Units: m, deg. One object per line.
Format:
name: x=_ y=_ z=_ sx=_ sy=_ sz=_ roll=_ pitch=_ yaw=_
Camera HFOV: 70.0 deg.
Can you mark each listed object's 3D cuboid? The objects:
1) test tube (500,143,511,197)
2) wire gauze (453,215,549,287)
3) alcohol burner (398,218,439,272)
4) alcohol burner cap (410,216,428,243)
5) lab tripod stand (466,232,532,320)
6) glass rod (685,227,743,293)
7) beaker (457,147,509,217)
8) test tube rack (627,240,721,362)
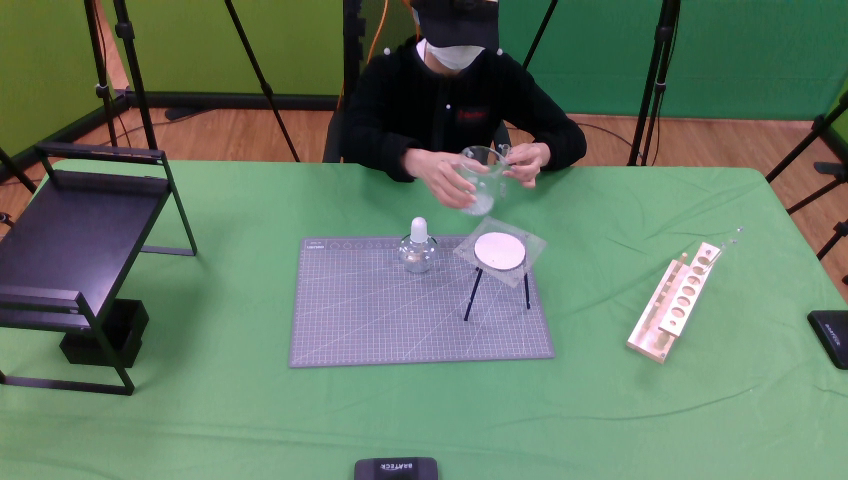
test tube: x=0.159 y=-0.134 z=1.184 sx=0.017 sy=0.151 sz=0.017 roll=-2 pitch=56 yaw=3
wire gauze: x=0.129 y=0.012 z=1.017 sx=0.124 sy=0.011 sz=0.121 roll=28 pitch=50 yaw=23
alcohol burner: x=-0.010 y=0.004 z=1.123 sx=0.078 sy=0.120 sz=0.077 roll=1 pitch=47 yaw=0
alcohol burner cap: x=-0.009 y=-0.022 z=1.099 sx=0.034 sy=0.048 sz=0.033 roll=1 pitch=41 yaw=-1
lab tripod stand: x=0.125 y=0.059 z=1.065 sx=0.148 sy=0.132 sz=0.147 roll=1 pitch=45 yaw=0
glass rod: x=0.501 y=0.039 z=1.054 sx=0.008 sy=0.200 sz=0.008 roll=4 pitch=53 yaw=-5
beaker: x=0.097 y=-0.096 z=1.023 sx=0.084 sy=0.101 sz=0.073 roll=-10 pitch=49 yaw=-17
test tube rack: x=0.452 y=0.098 z=1.087 sx=0.066 sy=0.085 sz=0.242 roll=28 pitch=51 yaw=22
